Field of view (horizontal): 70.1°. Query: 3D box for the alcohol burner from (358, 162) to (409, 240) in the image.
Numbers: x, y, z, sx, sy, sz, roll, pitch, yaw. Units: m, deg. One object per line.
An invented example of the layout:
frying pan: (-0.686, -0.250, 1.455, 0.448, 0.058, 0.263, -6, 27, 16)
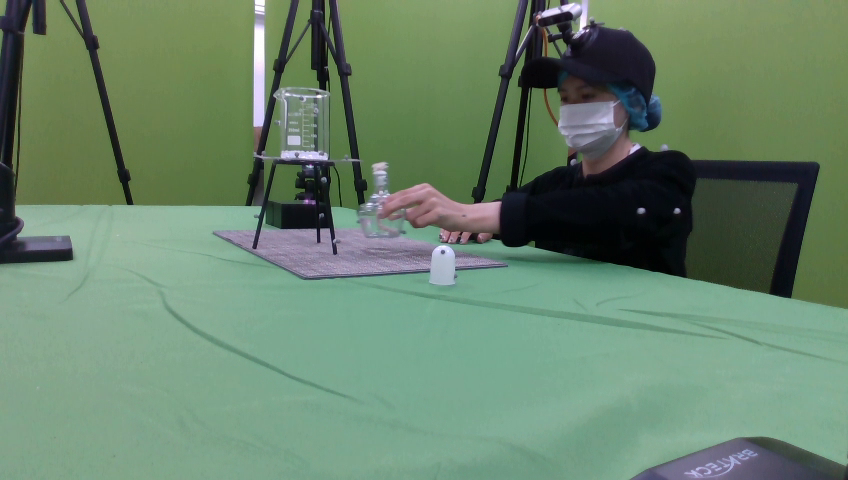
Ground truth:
alcohol burner: (-0.061, -0.060, 0.925, 0.078, 0.119, 0.078, 0, 3, 0)

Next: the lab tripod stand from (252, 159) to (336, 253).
lab tripod stand: (-0.180, -0.053, 0.900, 0.148, 0.131, 0.148, 1, 6, 0)

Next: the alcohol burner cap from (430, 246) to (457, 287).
alcohol burner cap: (0.024, 0.030, 0.705, 0.034, 0.048, 0.034, 2, 7, 0)

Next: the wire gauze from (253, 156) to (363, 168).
wire gauze: (-0.172, -0.117, 0.891, 0.122, 0.011, 0.124, 0, 3, -38)

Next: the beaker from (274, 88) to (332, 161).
beaker: (-0.177, -0.165, 0.879, 0.084, 0.100, 0.074, 2, 5, 1)
